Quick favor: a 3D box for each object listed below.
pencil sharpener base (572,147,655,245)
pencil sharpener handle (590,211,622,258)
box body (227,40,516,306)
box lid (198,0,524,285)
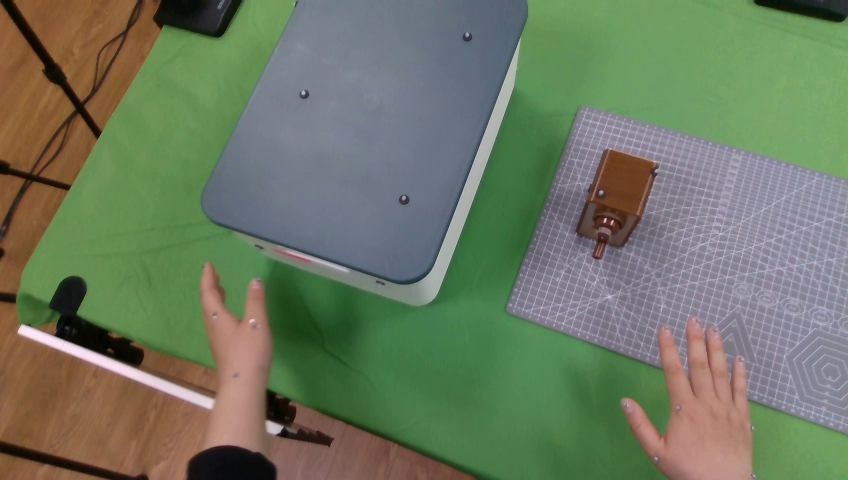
[{"bbox_3d":[0.216,-0.046,0.703,0.061,0.108,0.076,19,74,12],"label":"pencil sharpener base"},{"bbox_3d":[0.198,-0.004,0.677,0.036,0.068,0.030,17,74,20],"label":"pencil sharpener handle"},{"bbox_3d":[-0.055,-0.126,0.732,0.253,0.161,0.362,17,74,11],"label":"box body"},{"bbox_3d":[-0.061,-0.153,0.663,0.262,0.015,0.370,17,74,11],"label":"box lid"}]
